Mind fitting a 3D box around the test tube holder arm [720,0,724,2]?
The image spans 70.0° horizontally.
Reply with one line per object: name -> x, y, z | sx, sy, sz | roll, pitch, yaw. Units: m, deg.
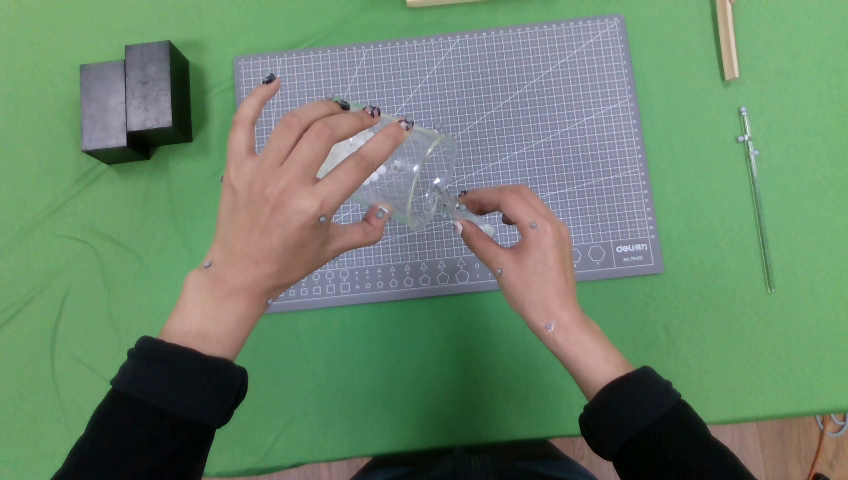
test tube holder arm -> 0.339, -0.316, 0.690 | 0.010, 0.015, 0.087 | 5, 81, -27

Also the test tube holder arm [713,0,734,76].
test tube holder arm -> 0.334, -0.271, 0.681 | 0.013, 0.015, 0.178 | 4, 81, -27

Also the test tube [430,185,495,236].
test tube -> 0.038, -0.023, 0.544 | 0.017, 0.151, 0.017 | -4, 79, 21

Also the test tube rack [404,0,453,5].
test tube rack -> 0.093, -0.324, 0.668 | 0.242, 0.085, 0.066 | -5, 81, 2

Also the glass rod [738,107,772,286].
glass rod -> 0.357, -0.049, 0.655 | 0.008, 0.008, 0.199 | -5, 81, 1

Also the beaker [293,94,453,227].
beaker -> -0.038, -0.061, 0.452 | 0.100, 0.084, 0.074 | 23, 85, 16
